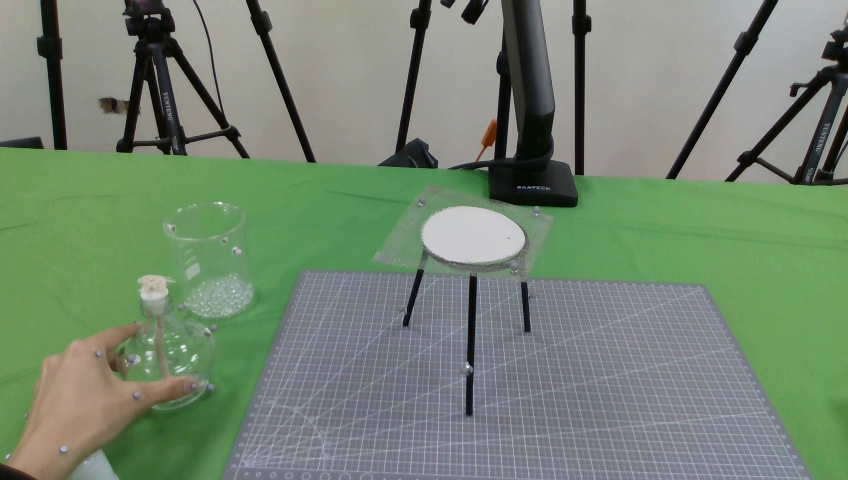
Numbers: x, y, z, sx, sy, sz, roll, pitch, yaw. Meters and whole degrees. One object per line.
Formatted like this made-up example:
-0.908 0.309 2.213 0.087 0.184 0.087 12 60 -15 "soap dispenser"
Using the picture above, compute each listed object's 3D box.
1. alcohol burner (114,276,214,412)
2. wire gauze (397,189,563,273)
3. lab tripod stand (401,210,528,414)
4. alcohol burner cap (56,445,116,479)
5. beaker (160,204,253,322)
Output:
-0.216 0.081 0.500 0.078 0.120 0.077 3 27 -1 "alcohol burner"
0.042 -0.013 0.482 0.125 0.011 0.120 7 27 -4 "wire gauze"
0.040 0.054 0.532 0.148 0.132 0.147 2 34 -1 "lab tripod stand"
-0.244 0.168 0.433 0.034 0.048 0.033 0 33 1 "alcohol burner cap"
-0.212 0.023 0.607 0.074 0.101 0.083 9 33 11 "beaker"
